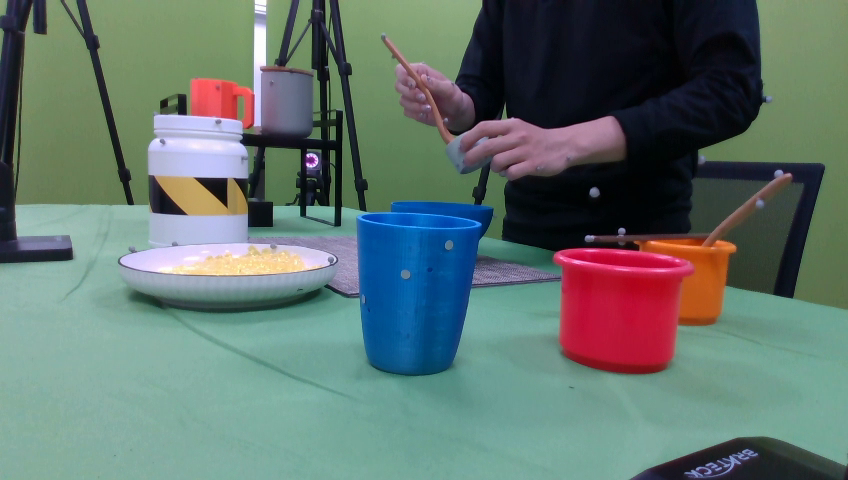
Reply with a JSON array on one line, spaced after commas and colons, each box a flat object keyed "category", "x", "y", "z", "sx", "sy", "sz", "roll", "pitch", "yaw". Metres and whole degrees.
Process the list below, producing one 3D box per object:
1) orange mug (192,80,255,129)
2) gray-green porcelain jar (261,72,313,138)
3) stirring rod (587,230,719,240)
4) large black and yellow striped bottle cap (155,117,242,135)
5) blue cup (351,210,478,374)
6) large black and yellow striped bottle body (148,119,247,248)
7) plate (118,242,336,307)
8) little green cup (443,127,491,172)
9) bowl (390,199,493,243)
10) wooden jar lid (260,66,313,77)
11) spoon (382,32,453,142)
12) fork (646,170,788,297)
[{"category": "orange mug", "x": -0.389, "y": -0.257, "z": 1.172, "sx": 0.126, "sy": 0.100, "sz": 0.083, "roll": -1, "pitch": 6, "yaw": 9}, {"category": "gray-green porcelain jar", "x": -0.284, "y": -0.276, "z": 1.253, "sx": 0.106, "sy": 0.126, "sz": 0.106, "roll": 2, "pitch": 8, "yaw": 0}, {"category": "stirring rod", "x": 0.226, "y": -0.005, "z": 0.587, "sx": 0.177, "sy": 0.006, "sz": 0.014, "roll": -2, "pitch": 10, "yaw": -29}, {"category": "large black and yellow striped bottle cap", "x": -0.313, "y": -0.159, "z": 0.845, "sx": 0.115, "sy": 0.019, "sz": 0.115, "roll": 3, "pitch": 9, "yaw": 0}, {"category": "blue cup", "x": -0.009, "y": 0.034, "z": 0.414, "sx": 0.093, "sy": 0.100, "sz": 0.092, "roll": 4, "pitch": 8, "yaw": 0}, {"category": "large black and yellow striped bottle body", "x": -0.318, "y": -0.076, "z": 0.855, "sx": 0.131, "sy": 0.184, "sz": 0.130, "roll": 2, "pitch": 7, "yaw": 0}, {"category": "plate", "x": -0.194, "y": 0.033, "z": 0.615, "sx": 0.209, "sy": 0.038, "sz": 0.209, "roll": 2, "pitch": 7, "yaw": 0}, {"category": "little green cup", "x": 0.060, "y": -0.121, "z": 0.819, "sx": 0.061, "sy": 0.038, "sz": 0.061, "roll": -25, "pitch": -9, "yaw": -4}, {"category": "bowl", "x": 0.023, "y": -0.015, "z": 0.874, "sx": 0.151, "sy": 0.077, "sz": 0.151, "roll": 3, "pitch": 7, "yaw": 0}, {"category": "wooden jar lid", "x": -0.283, "y": -0.339, "z": 1.244, "sx": 0.108, "sy": 0.020, "sz": 0.108, "roll": 6, "pitch": 9, "yaw": -1}, {"category": "spoon", "x": 0.003, "y": -0.196, "z": 0.812, "sx": 0.021, "sy": 0.194, "sz": 0.041, "roll": -29, "pitch": 13, "yaw": 16}, {"category": "fork", "x": 0.256, "y": 0.004, "z": 0.543, "sx": 0.028, "sy": 0.018, "sz": 0.207, "roll": 3, "pitch": -36, "yaw": -9}]
